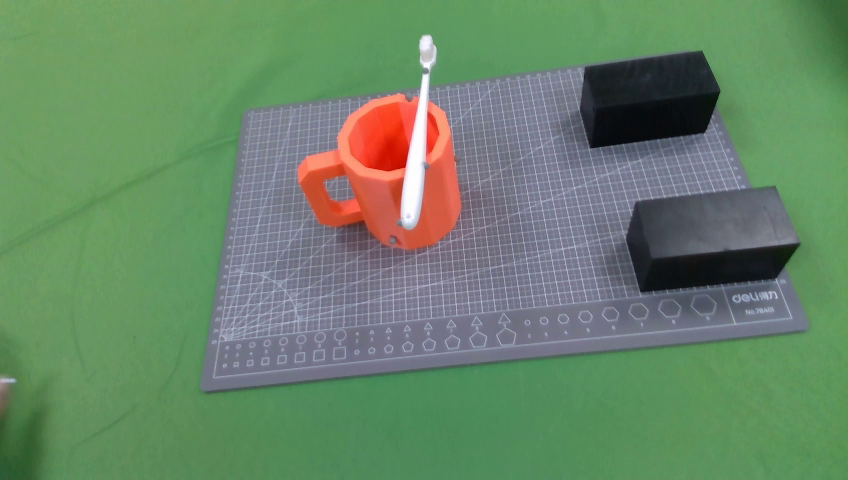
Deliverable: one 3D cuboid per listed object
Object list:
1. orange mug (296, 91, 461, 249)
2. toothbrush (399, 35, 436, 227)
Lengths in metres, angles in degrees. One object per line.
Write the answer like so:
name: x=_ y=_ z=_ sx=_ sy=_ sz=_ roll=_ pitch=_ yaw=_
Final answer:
orange mug: x=-0.035 y=-0.051 z=0.489 sx=0.126 sy=0.102 sz=0.082 roll=-11 pitch=57 yaw=-3
toothbrush: x=-0.004 y=-0.087 z=0.444 sx=0.014 sy=0.017 sz=0.180 roll=2 pitch=58 yaw=5
